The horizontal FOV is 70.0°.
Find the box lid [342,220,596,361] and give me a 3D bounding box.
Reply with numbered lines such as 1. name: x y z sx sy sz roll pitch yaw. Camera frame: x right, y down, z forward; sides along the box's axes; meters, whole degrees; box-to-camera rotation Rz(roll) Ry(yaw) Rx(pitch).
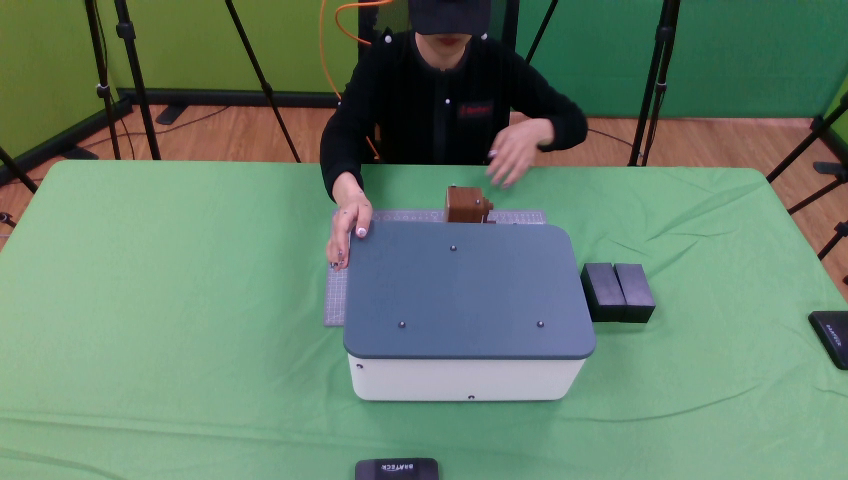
1. box lid: 0.066 0.070 0.934 0.372 0.015 0.261 1 48 -4

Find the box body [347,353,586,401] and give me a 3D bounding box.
1. box body: 0.060 0.120 0.988 0.364 0.161 0.252 1 47 -4

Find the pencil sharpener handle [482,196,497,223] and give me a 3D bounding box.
1. pencil sharpener handle: 0.130 -0.056 1.182 0.031 0.068 0.036 2 43 -3

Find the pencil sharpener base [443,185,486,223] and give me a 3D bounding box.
1. pencil sharpener base: 0.078 -0.049 1.188 0.077 0.107 0.061 2 46 -3
